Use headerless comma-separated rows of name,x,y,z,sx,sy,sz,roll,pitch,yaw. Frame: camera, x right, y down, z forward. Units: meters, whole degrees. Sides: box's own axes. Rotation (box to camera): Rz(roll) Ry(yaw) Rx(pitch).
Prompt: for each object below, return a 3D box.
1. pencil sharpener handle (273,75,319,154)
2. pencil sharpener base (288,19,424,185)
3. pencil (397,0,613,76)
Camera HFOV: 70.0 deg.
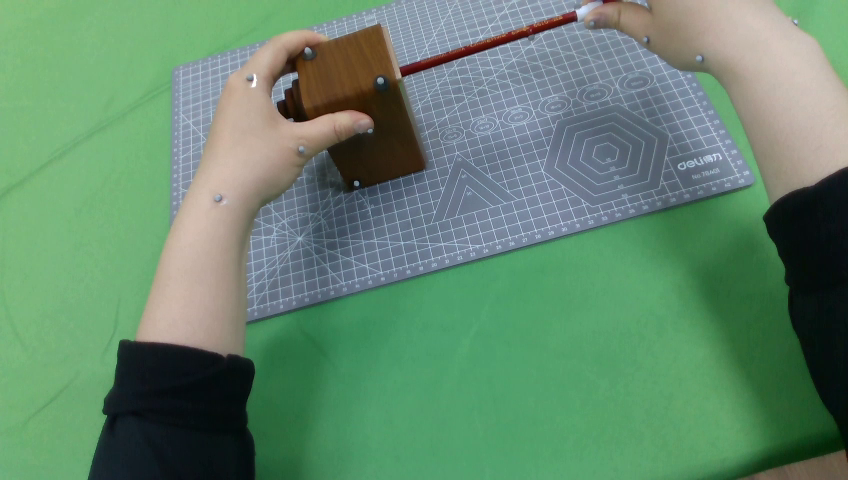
pencil sharpener handle,-0.101,-0.090,0.454,0.030,0.068,0.035,-18,58,3
pencil sharpener base,-0.050,-0.100,0.462,0.076,0.108,0.061,-18,60,3
pencil,0.041,-0.141,0.433,0.194,0.012,0.012,-18,60,3
